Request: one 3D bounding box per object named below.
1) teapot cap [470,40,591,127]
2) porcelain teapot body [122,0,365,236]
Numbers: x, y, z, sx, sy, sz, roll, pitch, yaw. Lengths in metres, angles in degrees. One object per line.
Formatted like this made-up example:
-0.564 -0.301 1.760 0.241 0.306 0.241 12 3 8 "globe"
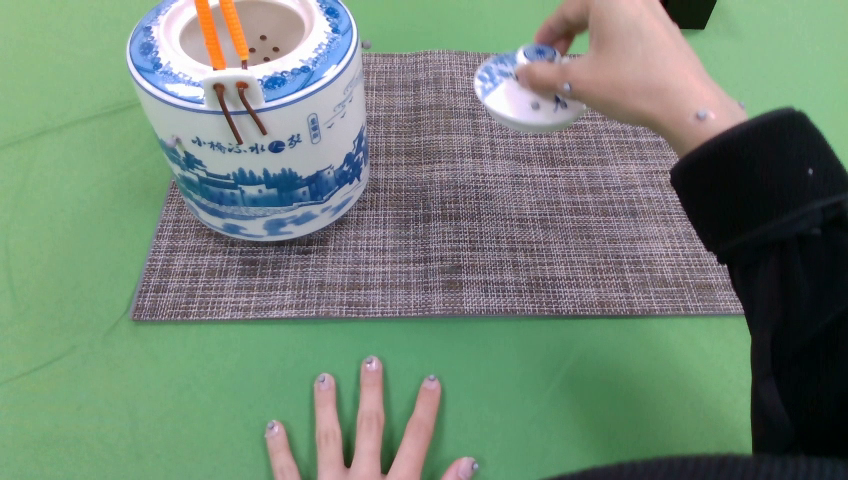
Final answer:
0.075 -0.115 0.423 0.085 0.044 0.084 0 49 1 "teapot cap"
-0.120 -0.138 0.419 0.145 0.227 0.203 -6 54 -6 "porcelain teapot body"
